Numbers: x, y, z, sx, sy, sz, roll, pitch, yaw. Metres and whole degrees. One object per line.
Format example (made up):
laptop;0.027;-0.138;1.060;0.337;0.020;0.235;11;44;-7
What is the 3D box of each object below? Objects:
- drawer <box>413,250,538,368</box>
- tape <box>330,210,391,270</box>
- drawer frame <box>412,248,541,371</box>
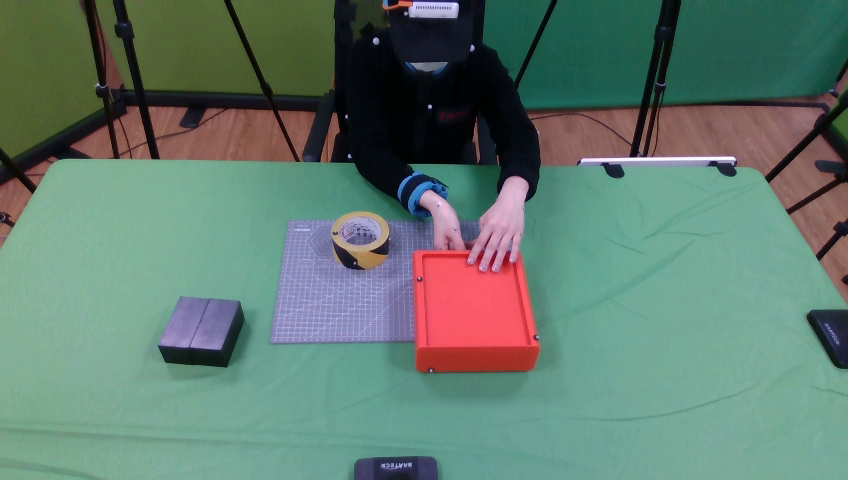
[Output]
drawer;0.081;0.115;1.048;0.195;0.073;0.210;1;47;-4
tape;-0.123;-0.002;1.164;0.117;0.053;0.116;3;46;-3
drawer frame;0.082;0.116;1.046;0.202;0.083;0.212;0;47;-4
